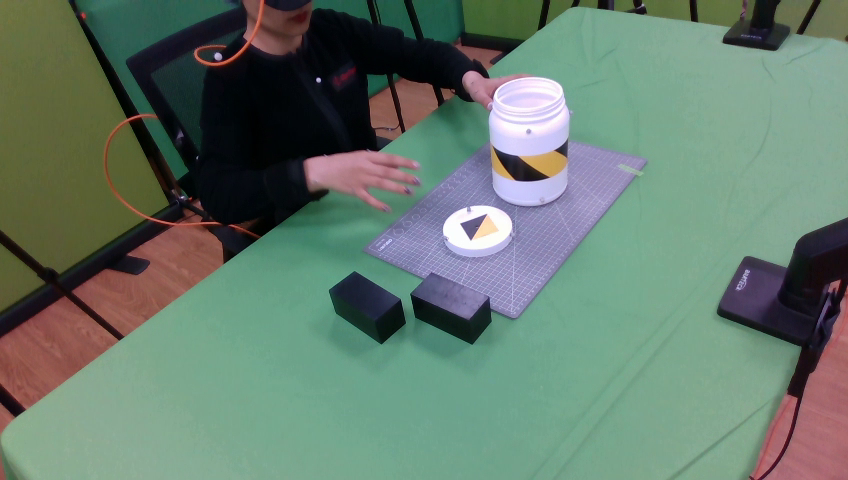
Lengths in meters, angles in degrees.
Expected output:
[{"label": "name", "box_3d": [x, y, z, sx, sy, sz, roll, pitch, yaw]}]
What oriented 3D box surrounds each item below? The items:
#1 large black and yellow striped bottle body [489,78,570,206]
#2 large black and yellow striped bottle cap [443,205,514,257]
[{"label": "large black and yellow striped bottle body", "box_3d": [0.177, -0.164, 1.012, 0.131, 0.185, 0.130, -5, 40, 5]}, {"label": "large black and yellow striped bottle cap", "box_3d": [0.088, -0.016, 0.986, 0.115, 0.019, 0.114, -4, 41, 4]}]
